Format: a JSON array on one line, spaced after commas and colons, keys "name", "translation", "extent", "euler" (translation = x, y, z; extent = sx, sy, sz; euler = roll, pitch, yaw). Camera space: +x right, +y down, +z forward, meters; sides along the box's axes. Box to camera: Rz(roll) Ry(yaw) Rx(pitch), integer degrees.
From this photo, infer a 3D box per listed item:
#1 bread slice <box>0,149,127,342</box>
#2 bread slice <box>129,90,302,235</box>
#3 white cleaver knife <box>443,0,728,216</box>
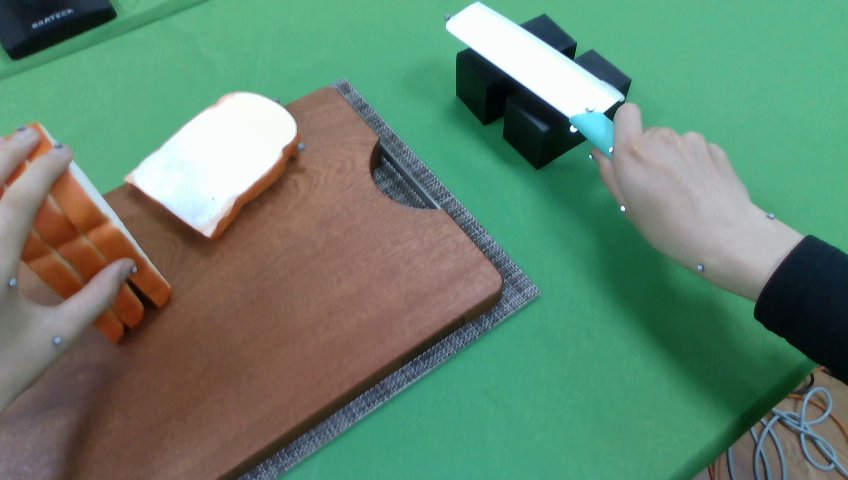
[{"name": "bread slice", "translation": [-0.253, -0.002, 0.408], "extent": [0.018, 0.135, 0.106], "euler": [-34, 56, -18]}, {"name": "bread slice", "translation": [-0.165, -0.071, 0.510], "extent": [0.104, 0.019, 0.131], "euler": [31, 68, 23]}, {"name": "white cleaver knife", "translation": [0.131, -0.122, 0.502], "extent": [0.066, 0.022, 0.284], "euler": [-38, 71, -25]}]
